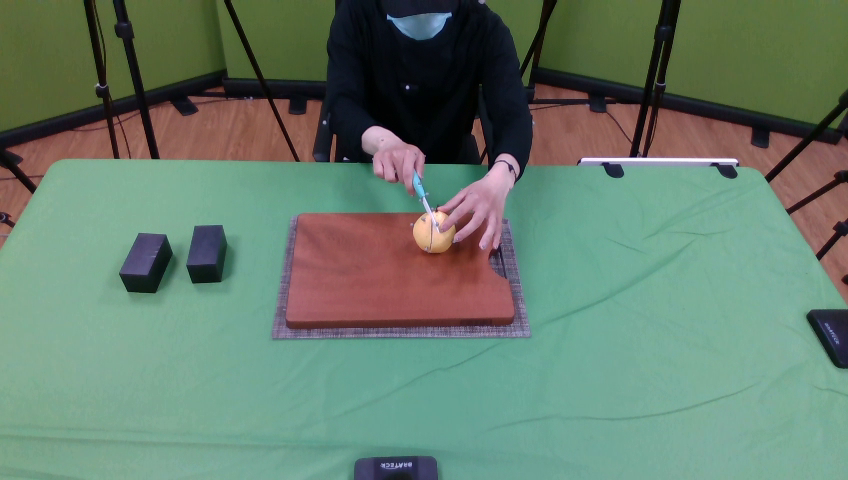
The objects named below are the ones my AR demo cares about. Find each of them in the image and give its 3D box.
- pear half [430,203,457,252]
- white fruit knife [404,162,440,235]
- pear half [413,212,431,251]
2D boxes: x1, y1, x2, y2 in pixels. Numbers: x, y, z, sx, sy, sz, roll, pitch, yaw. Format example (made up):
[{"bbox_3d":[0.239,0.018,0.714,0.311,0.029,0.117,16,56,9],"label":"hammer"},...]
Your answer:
[{"bbox_3d":[0.035,-0.029,1.122,0.056,0.110,0.076,-4,52,-13],"label":"pear half"},{"bbox_3d":[-0.003,-0.081,1.129,0.016,0.027,0.206,-14,48,-12],"label":"white fruit knife"},{"bbox_3d":[-0.004,-0.017,1.125,0.031,0.088,0.070,-11,55,-8],"label":"pear half"}]
